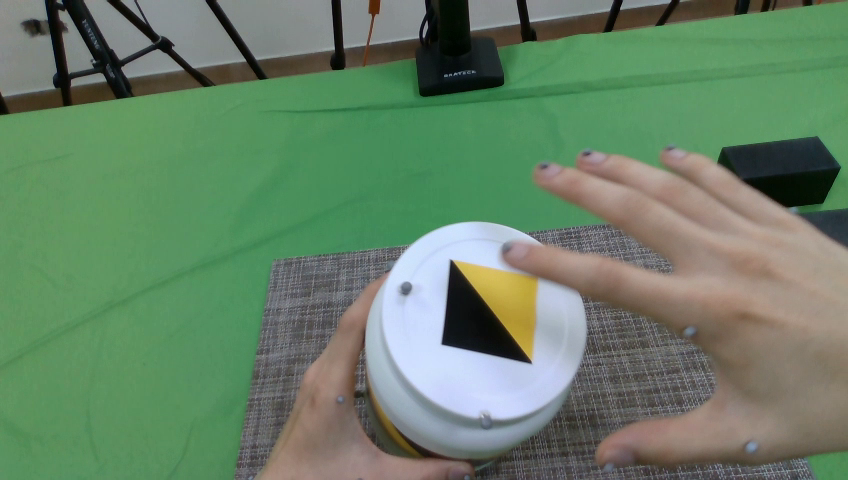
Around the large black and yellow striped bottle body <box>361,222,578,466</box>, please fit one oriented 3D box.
[{"bbox_3d":[0.023,0.077,0.412,0.131,0.185,0.129,3,64,-5],"label":"large black and yellow striped bottle body"}]

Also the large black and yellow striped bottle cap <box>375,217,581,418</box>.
[{"bbox_3d":[0.030,0.040,0.337,0.115,0.019,0.114,4,64,-7],"label":"large black and yellow striped bottle cap"}]
